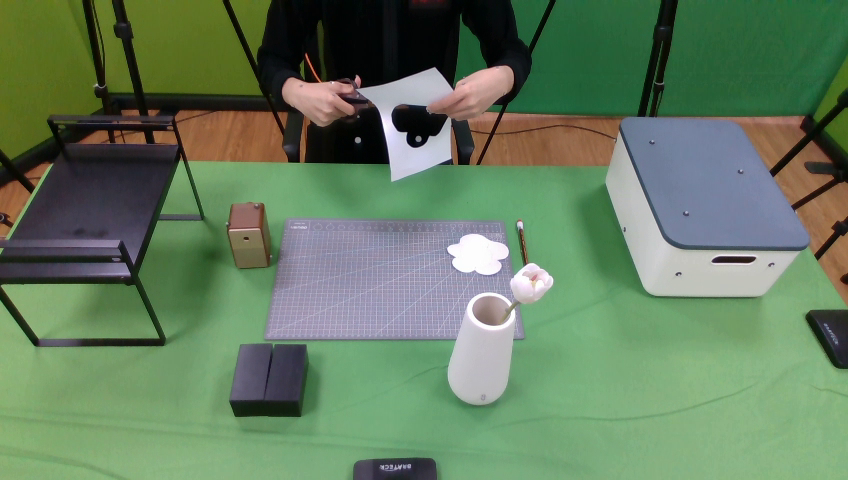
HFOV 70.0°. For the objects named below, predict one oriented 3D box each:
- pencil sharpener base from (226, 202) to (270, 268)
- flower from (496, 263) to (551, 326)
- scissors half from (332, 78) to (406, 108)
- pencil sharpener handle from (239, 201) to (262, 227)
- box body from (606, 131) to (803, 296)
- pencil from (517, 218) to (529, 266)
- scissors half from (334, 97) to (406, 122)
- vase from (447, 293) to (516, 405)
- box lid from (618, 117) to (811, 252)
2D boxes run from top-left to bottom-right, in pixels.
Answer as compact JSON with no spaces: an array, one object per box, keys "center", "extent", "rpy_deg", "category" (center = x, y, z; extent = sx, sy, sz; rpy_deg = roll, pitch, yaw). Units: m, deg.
[{"center":[-0.323,-0.010,1.123],"extent":[0.061,0.107,0.076],"rpy_deg":[-3,46,-7],"category":"pencil sharpener base"},{"center":[0.102,0.120,0.853],"extent":[0.044,0.363,0.038],"rpy_deg":[-1,64,-10],"category":"flower"},{"center":[-0.101,-0.263,1.101],"extent":[0.174,0.040,0.013],"rpy_deg":[23,34,29],"category":"scissors half"},{"center":[-0.325,-0.056,1.150],"extent":[0.036,0.068,0.030],"rpy_deg":[-13,46,3],"category":"pencil sharpener handle"},{"center":[0.530,-0.067,1.204],"extent":[0.254,0.161,0.361],"rpy_deg":[1,46,-4],"category":"box body"},{"center":[0.200,0.028,1.196],"extent":[0.012,0.012,0.193],"rpy_deg":[1,48,-3],"category":"pencil"},{"center":[-0.100,-0.243,1.108],"extent":[0.174,0.040,0.013],"rpy_deg":[-1,14,38],"category":"scissors half"},{"center":[0.091,0.169,0.921],"extent":[0.098,0.201,0.097],"rpy_deg":[3,47,-3],"category":"vase"},{"center":[0.534,-0.117,1.149],"extent":[0.263,0.015,0.369],"rpy_deg":[0,47,-3],"category":"box lid"}]
